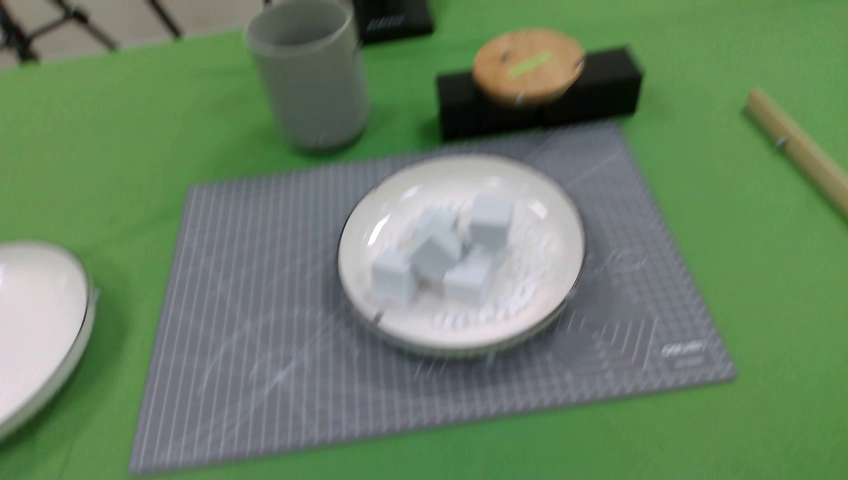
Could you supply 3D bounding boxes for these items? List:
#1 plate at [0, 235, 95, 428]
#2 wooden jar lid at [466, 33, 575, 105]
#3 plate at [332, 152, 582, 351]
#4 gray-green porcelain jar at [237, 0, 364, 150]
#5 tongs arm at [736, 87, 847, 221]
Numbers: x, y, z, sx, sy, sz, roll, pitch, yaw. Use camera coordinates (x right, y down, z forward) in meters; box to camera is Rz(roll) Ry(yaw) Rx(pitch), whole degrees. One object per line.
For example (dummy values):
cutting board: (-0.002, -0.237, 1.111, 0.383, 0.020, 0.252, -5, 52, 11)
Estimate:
plate: (-0.377, 0.085, 0.506, 0.207, 0.039, 0.205, -3, 50, 4)
wooden jar lid: (0.097, -0.172, 0.611, 0.108, 0.021, 0.107, -3, 51, 4)
plate: (0.027, 0.007, 0.518, 0.209, 0.038, 0.207, -4, 50, 5)
gray-green porcelain jar: (-0.121, -0.166, 0.629, 0.106, 0.128, 0.105, -4, 49, 5)
tongs arm: (0.381, -0.013, 0.502, 0.028, 0.028, 0.383, -15, 50, -8)
